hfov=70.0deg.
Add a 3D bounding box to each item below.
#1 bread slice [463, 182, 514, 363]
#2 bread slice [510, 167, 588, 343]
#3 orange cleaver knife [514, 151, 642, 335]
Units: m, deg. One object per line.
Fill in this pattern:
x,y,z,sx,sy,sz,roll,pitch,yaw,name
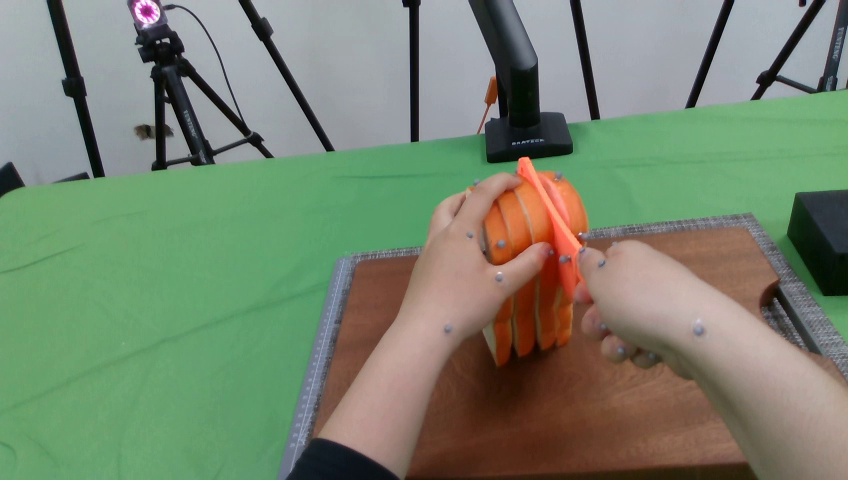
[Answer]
0.053,0.018,0.513,0.018,0.135,0.106,-11,32,-6,bread slice
0.104,0.006,0.516,0.019,0.132,0.103,-4,34,-15,bread slice
0.104,0.006,0.450,0.012,0.078,0.209,-13,38,-6,orange cleaver knife
